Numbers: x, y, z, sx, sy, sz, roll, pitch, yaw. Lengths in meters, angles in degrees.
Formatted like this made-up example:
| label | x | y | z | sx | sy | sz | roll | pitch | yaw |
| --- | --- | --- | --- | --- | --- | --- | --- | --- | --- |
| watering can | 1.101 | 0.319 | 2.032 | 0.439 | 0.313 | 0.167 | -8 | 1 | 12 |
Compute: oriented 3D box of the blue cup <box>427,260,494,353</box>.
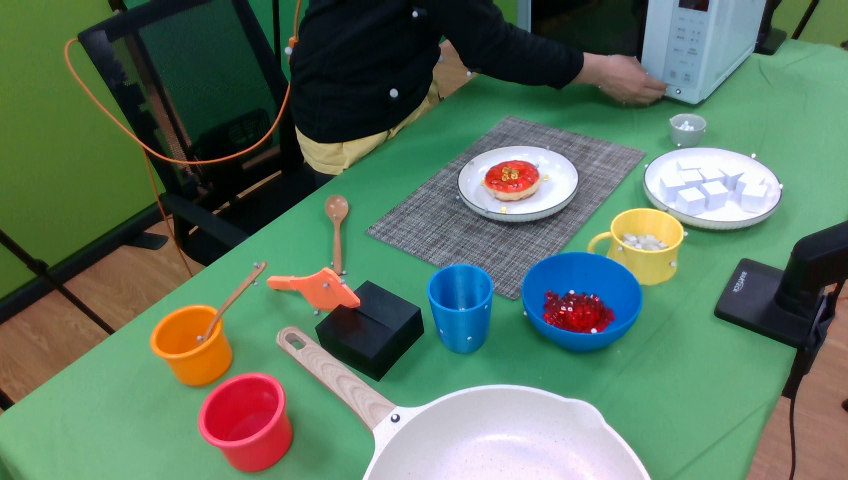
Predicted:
| label | x | y | z | sx | sy | sz | roll | pitch | yaw |
| --- | --- | --- | --- | --- | --- | --- | --- | --- | --- |
| blue cup | 0.050 | 0.095 | 0.792 | 0.092 | 0.100 | 0.092 | -3 | 42 | 3 |

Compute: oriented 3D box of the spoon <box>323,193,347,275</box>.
| label | x | y | z | sx | sy | sz | roll | pitch | yaw |
| --- | --- | --- | --- | --- | --- | --- | --- | --- | --- |
| spoon | -0.148 | -0.014 | 1.008 | 0.042 | 0.021 | 0.192 | 3 | 39 | -11 |

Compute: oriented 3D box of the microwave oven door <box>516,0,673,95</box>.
| label | x | y | z | sx | sy | sz | roll | pitch | yaw |
| --- | --- | --- | --- | --- | --- | --- | --- | --- | --- |
| microwave oven door | 0.345 | -0.458 | 1.257 | 0.353 | 0.245 | 0.039 | 27 | 52 | 33 |

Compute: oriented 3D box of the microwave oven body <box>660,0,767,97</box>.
| label | x | y | z | sx | sy | sz | roll | pitch | yaw |
| --- | --- | --- | --- | --- | --- | --- | --- | --- | --- |
| microwave oven body | 0.474 | -0.517 | 1.314 | 0.438 | 0.261 | 0.327 | 26 | 51 | 34 |

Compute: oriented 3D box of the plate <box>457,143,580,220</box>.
| label | x | y | z | sx | sy | sz | roll | pitch | yaw |
| --- | --- | --- | --- | --- | --- | --- | --- | --- | --- |
| plate | 0.162 | -0.097 | 1.042 | 0.209 | 0.038 | 0.208 | -4 | 40 | 4 |

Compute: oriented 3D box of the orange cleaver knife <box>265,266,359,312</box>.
| label | x | y | z | sx | sy | sz | roll | pitch | yaw |
| --- | --- | --- | --- | --- | --- | --- | --- | --- | --- |
| orange cleaver knife | -0.164 | 0.073 | 0.864 | 0.210 | 0.077 | 0.012 | -6 | 31 | 50 |

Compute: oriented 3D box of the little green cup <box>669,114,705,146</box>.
| label | x | y | z | sx | sy | sz | roll | pitch | yaw |
| --- | --- | --- | --- | --- | --- | --- | --- | --- | --- |
| little green cup | 0.486 | -0.203 | 1.123 | 0.061 | 0.039 | 0.061 | -5 | 40 | 4 |

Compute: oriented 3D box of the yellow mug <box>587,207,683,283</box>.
| label | x | y | z | sx | sy | sz | roll | pitch | yaw |
| --- | --- | --- | --- | --- | --- | --- | --- | --- | --- |
| yellow mug | 0.306 | 0.008 | 0.885 | 0.131 | 0.064 | 0.099 | -4 | 41 | 5 |

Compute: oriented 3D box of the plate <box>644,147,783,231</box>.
| label | x | y | z | sx | sy | sz | roll | pitch | yaw |
| --- | --- | --- | --- | --- | --- | --- | --- | --- | --- |
| plate | 0.465 | -0.080 | 0.986 | 0.207 | 0.039 | 0.206 | -4 | 41 | 4 |

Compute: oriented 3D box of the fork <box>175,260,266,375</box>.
| label | x | y | z | sx | sy | sz | roll | pitch | yaw |
| --- | --- | --- | --- | --- | --- | --- | --- | --- | --- |
| fork | -0.268 | 0.102 | 0.792 | 0.207 | 0.019 | 0.028 | -51 | 41 | 17 |

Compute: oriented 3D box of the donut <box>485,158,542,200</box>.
| label | x | y | z | sx | sy | sz | roll | pitch | yaw |
| --- | --- | --- | --- | --- | --- | --- | --- | --- | --- |
| donut | 0.153 | -0.108 | 1.039 | 0.099 | 0.048 | 0.098 | -6 | 37 | 5 |

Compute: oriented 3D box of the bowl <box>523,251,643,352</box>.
| label | x | y | z | sx | sy | sz | roll | pitch | yaw |
| --- | --- | --- | --- | --- | --- | --- | --- | --- | --- |
| bowl | 0.205 | 0.093 | 0.792 | 0.151 | 0.077 | 0.150 | -4 | 40 | 4 |

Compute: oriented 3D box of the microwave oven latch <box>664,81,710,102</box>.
| label | x | y | z | sx | sy | sz | roll | pitch | yaw |
| --- | --- | --- | --- | --- | --- | --- | --- | --- | --- |
| microwave oven latch | 0.521 | -0.300 | 1.203 | 0.030 | 0.029 | 0.078 | -33 | 46 | -26 |

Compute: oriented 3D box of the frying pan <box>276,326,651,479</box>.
| label | x | y | z | sx | sy | sz | roll | pitch | yaw |
| --- | --- | --- | --- | --- | --- | --- | --- | --- | --- |
| frying pan | 0.004 | 0.229 | 0.642 | 0.484 | 0.103 | 0.308 | 34 | 54 | 28 |
